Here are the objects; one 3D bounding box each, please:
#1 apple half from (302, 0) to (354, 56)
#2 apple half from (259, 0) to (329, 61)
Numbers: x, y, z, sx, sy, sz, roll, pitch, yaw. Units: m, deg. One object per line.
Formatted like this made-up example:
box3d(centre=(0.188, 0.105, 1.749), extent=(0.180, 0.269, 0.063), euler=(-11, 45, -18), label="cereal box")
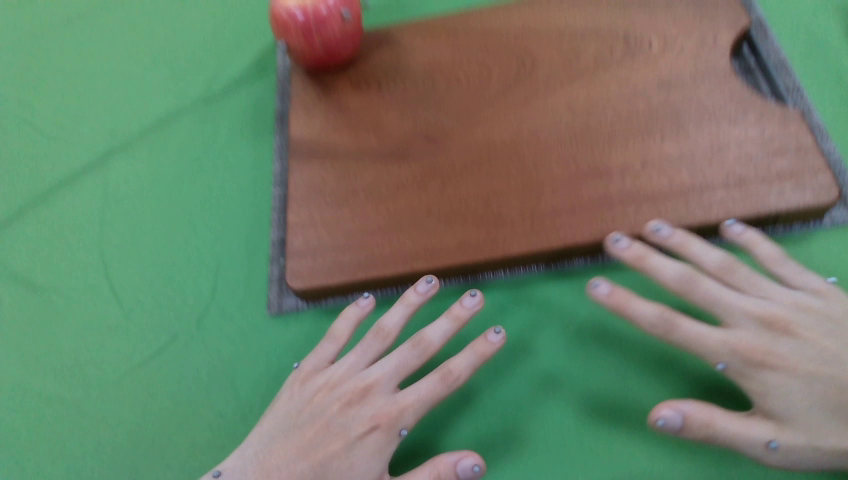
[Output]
box3d(centre=(-0.076, -0.201, 0.522), extent=(0.032, 0.082, 0.080), euler=(-3, 62, 13), label="apple half")
box3d(centre=(-0.114, -0.199, 0.530), extent=(0.053, 0.075, 0.080), euler=(-3, 64, 13), label="apple half")
